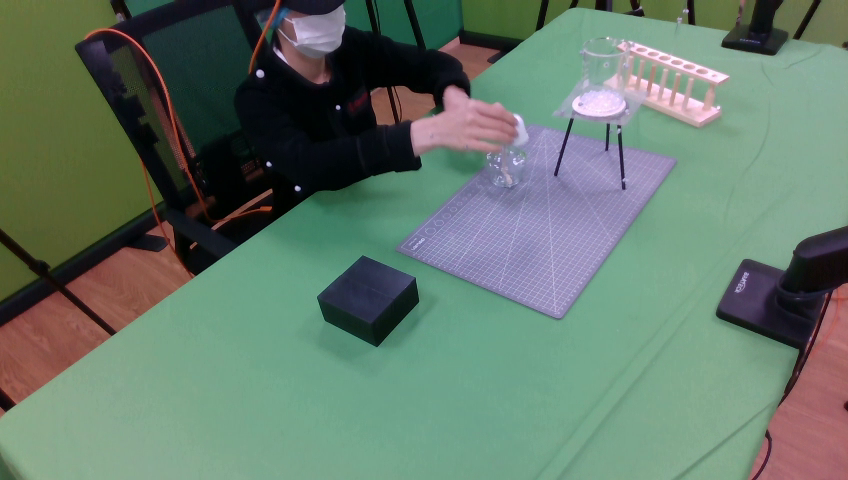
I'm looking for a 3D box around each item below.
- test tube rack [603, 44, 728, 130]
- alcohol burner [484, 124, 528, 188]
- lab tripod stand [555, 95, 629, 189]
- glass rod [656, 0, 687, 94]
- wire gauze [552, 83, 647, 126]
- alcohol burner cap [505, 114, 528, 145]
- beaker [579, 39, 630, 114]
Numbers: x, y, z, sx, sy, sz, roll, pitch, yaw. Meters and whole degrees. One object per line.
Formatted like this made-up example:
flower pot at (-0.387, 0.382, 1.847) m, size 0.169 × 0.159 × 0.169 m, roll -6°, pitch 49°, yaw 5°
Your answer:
test tube rack at (0.480, -0.316, 1.227) m, size 0.067 × 0.085 × 0.240 m, roll -28°, pitch 44°, yaw -22°
alcohol burner at (0.144, -0.152, 1.059) m, size 0.078 × 0.119 × 0.077 m, roll -3°, pitch 41°, yaw 3°
lab tripod stand at (0.300, -0.174, 1.045) m, size 0.148 × 0.132 × 0.147 m, roll -5°, pitch 38°, yaw 5°
glass rod at (0.491, -0.381, 1.199) m, size 0.008 × 0.200 × 0.008 m, roll 1°, pitch 41°, yaw 0°
wire gauze at (0.293, -0.224, 1.004) m, size 0.120 × 0.011 × 0.125 m, roll 19°, pitch 43°, yaw 26°
alcohol burner cap at (0.141, -0.174, 0.939) m, size 0.034 × 0.048 × 0.033 m, roll -11°, pitch 48°, yaw 13°
beaker at (0.289, -0.263, 0.975) m, size 0.073 × 0.101 × 0.084 m, roll 17°, pitch 45°, yaw 27°
